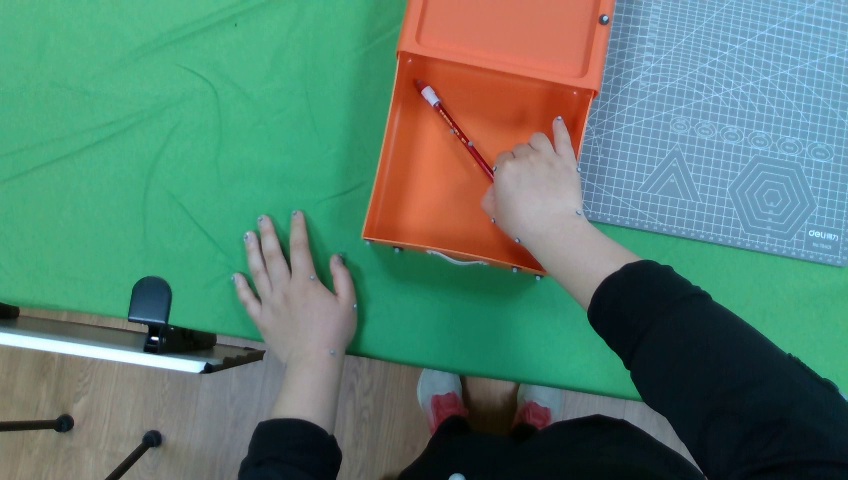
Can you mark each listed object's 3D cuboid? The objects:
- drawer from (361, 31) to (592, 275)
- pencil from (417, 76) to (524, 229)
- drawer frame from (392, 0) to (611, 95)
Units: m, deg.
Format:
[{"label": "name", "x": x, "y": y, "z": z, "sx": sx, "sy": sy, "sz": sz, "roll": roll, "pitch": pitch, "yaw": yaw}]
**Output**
[{"label": "drawer", "x": 0.053, "y": -0.082, "z": 0.608, "sx": 0.194, "sy": 0.073, "sz": 0.211, "roll": 11, "pitch": 88, "yaw": 0}, {"label": "pencil", "x": 0.049, "y": -0.091, "z": 0.628, "sx": 0.012, "sy": 0.012, "sz": 0.193, "roll": -33, "pitch": 83, "yaw": -4}, {"label": "drawer frame", "x": 0.086, "y": -0.258, "z": 0.621, "sx": 0.202, "sy": 0.083, "sz": 0.213, "roll": 10, "pitch": 84, "yaw": 1}]
